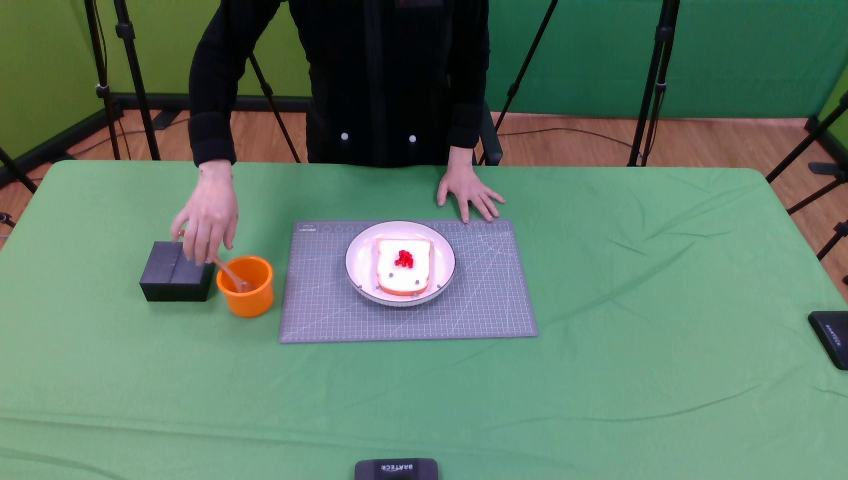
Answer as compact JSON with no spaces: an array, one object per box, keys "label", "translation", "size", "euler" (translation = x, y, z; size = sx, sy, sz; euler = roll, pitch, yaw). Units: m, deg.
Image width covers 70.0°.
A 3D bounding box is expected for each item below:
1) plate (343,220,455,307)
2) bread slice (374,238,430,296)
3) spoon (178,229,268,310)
[{"label":"plate","translation":[-0.047,0.046,1.135],"size":[0.209,0.038,0.208],"euler":[2,46,-2]},{"label":"bread slice","translation":[-0.039,0.048,1.135],"size":[0.107,0.018,0.133],"euler":[-1,47,-4]},{"label":"spoon","translation":[-0.343,0.049,1.036],"size":[0.021,0.194,0.041],"euler":[-19,29,44]}]
